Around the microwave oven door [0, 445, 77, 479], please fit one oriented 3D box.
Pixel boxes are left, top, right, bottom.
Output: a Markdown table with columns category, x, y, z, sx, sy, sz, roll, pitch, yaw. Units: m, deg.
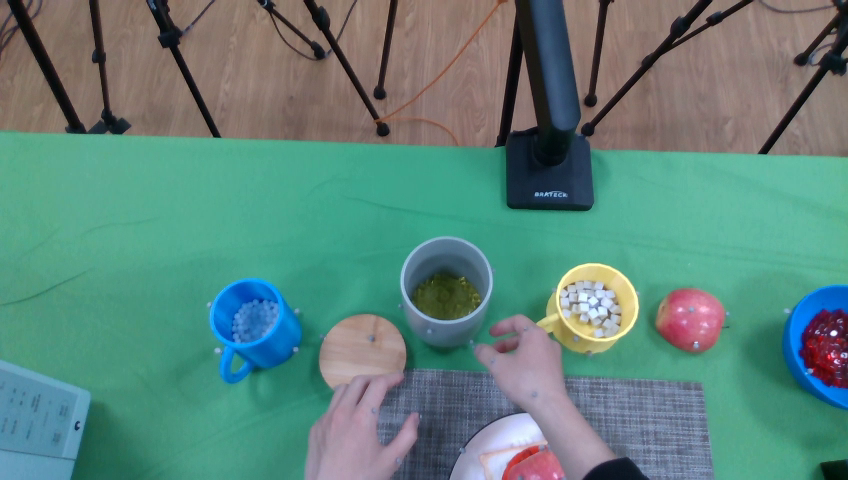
| category | x | y | z | sx | sy | sz | roll | pitch | yaw |
| --- | --- | --- | --- | --- | --- | --- | --- | --- | --- |
| microwave oven door | -0.427 | 0.361 | 0.526 | 0.039 | 0.245 | 0.353 | 2 | 67 | 2 |

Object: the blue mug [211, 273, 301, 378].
| category | x | y | z | sx | sy | sz | roll | pitch | yaw |
| --- | --- | --- | --- | --- | --- | --- | --- | --- | --- |
| blue mug | -0.205 | 0.109 | 0.724 | 0.082 | 0.106 | 0.116 | 22 | 69 | 9 |

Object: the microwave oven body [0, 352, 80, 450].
| category | x | y | z | sx | sy | sz | roll | pitch | yaw |
| --- | --- | --- | --- | --- | --- | --- | --- | --- | --- |
| microwave oven body | -0.570 | 0.318 | 0.550 | 0.326 | 0.262 | 0.438 | 3 | 68 | 1 |

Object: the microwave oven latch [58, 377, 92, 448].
| category | x | y | z | sx | sy | sz | roll | pitch | yaw |
| --- | --- | --- | --- | --- | --- | --- | --- | --- | --- |
| microwave oven latch | -0.413 | 0.199 | 0.703 | 0.030 | 0.030 | 0.078 | 6 | 68 | 2 |

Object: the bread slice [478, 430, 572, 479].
| category | x | y | z | sx | sy | sz | roll | pitch | yaw |
| --- | --- | --- | --- | --- | --- | --- | --- | --- | --- |
| bread slice | 0.131 | 0.291 | 0.683 | 0.107 | 0.018 | 0.133 | -14 | 68 | -5 |

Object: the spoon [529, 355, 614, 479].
| category | x | y | z | sx | sy | sz | roll | pitch | yaw |
| --- | --- | --- | --- | --- | --- | --- | --- | --- | --- |
| spoon | 0.171 | 0.220 | 0.694 | 0.041 | 0.022 | 0.192 | -22 | 78 | -10 |

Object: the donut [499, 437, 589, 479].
| category | x | y | z | sx | sy | sz | roll | pitch | yaw |
| --- | --- | --- | --- | --- | --- | --- | --- | --- | --- |
| donut | 0.131 | 0.266 | 0.661 | 0.099 | 0.048 | 0.098 | 0 | 68 | 0 |

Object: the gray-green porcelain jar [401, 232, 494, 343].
| category | x | y | z | sx | sy | sz | roll | pitch | yaw |
| --- | --- | --- | --- | --- | --- | --- | --- | --- | --- |
| gray-green porcelain jar | 0.027 | 0.064 | 0.732 | 0.106 | 0.127 | 0.105 | 0 | 67 | 0 |

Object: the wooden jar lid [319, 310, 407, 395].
| category | x | y | z | sx | sy | sz | roll | pitch | yaw |
| --- | --- | --- | --- | --- | --- | --- | --- | --- | --- |
| wooden jar lid | -0.075 | 0.140 | 0.754 | 0.108 | 0.021 | 0.107 | 0 | 64 | 1 |

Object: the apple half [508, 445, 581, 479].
| category | x | y | z | sx | sy | sz | roll | pitch | yaw |
| --- | --- | --- | --- | --- | --- | --- | --- | --- | --- |
| apple half | 0.128 | 0.252 | 0.628 | 0.081 | 0.033 | 0.080 | -3 | 62 | 6 |

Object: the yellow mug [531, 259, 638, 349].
| category | x | y | z | sx | sy | sz | roll | pitch | yaw |
| --- | --- | --- | --- | --- | --- | --- | --- | --- | --- |
| yellow mug | 0.194 | 0.086 | 0.755 | 0.131 | 0.064 | 0.099 | -20 | 69 | -7 |

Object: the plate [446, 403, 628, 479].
| category | x | y | z | sx | sy | sz | roll | pitch | yaw |
| --- | --- | --- | --- | --- | --- | --- | --- | --- | --- |
| plate | 0.125 | 0.292 | 0.681 | 0.208 | 0.039 | 0.206 | 0 | 68 | 0 |

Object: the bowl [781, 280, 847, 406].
| category | x | y | z | sx | sy | sz | roll | pitch | yaw |
| --- | --- | --- | --- | --- | --- | --- | --- | --- | --- |
| bowl | 0.496 | 0.131 | 0.729 | 0.151 | 0.077 | 0.150 | 0 | 68 | 1 |

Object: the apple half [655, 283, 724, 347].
| category | x | y | z | sx | sy | sz | roll | pitch | yaw |
| --- | --- | --- | --- | --- | --- | --- | --- | --- | --- |
| apple half | 0.337 | 0.089 | 0.761 | 0.074 | 0.054 | 0.080 | 23 | 70 | 12 |
